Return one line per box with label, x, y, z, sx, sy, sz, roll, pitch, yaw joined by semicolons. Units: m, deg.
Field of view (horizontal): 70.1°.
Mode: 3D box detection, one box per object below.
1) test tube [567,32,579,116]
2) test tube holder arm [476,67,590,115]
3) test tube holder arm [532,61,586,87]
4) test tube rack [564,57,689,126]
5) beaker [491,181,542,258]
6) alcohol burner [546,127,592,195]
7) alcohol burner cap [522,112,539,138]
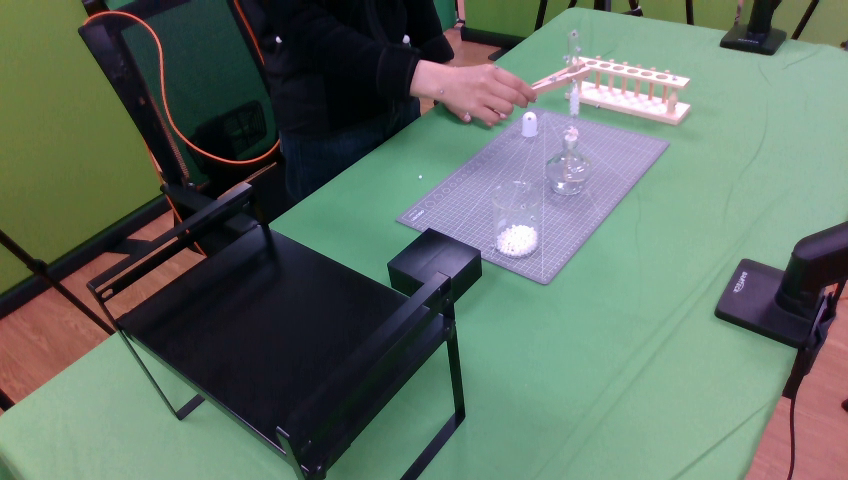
test tube;0.225;-0.245;0.910;0.017;0.151;0.017;-7;52;10
test tube holder arm;0.162;-0.222;0.899;0.178;0.015;0.013;-20;51;-2
test tube holder arm;0.201;-0.244;0.905;0.088;0.015;0.010;-26;52;-6
test tube rack;0.411;-0.311;1.230;0.240;0.085;0.067;24;49;32
beaker;0.144;-0.030;0.925;0.073;0.100;0.084;23;48;31
alcohol burner;0.246;-0.137;1.024;0.078;0.119;0.077;-4;38;4
alcohol burner cap;0.209;-0.230;1.195;0.034;0.048;0.033;-6;41;6
